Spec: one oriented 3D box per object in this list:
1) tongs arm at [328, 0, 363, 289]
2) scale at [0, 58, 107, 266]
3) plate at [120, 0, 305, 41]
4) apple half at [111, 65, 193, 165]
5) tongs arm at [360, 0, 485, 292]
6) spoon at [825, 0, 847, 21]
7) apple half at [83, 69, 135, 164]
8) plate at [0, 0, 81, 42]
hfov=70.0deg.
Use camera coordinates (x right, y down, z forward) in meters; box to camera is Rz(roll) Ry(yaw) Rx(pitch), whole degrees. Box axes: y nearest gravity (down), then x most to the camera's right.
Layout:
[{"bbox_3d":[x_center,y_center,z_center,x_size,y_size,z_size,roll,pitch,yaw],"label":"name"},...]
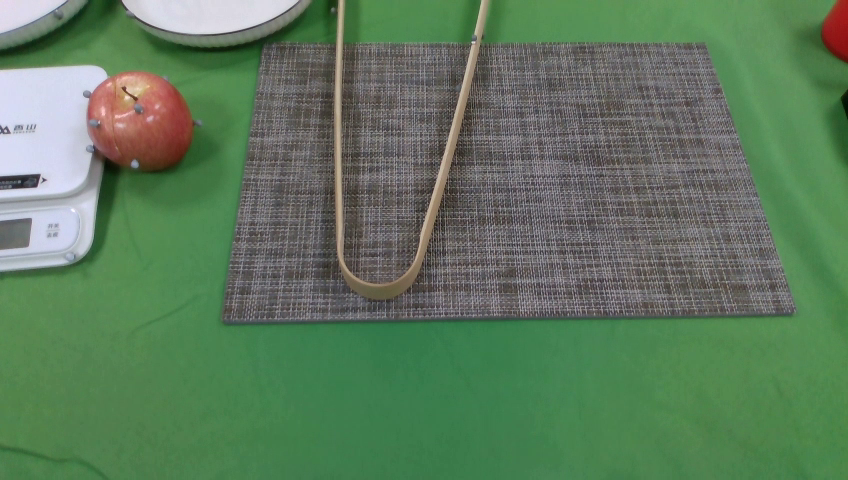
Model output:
[{"bbox_3d":[-0.073,-0.134,0.555,0.028,0.028,0.384,-1,61,-6],"label":"tongs arm"},{"bbox_3d":[-0.350,-0.071,0.515,0.149,0.032,0.199,-5,62,-4],"label":"scale"},{"bbox_3d":[-0.210,-0.278,0.629,0.209,0.038,0.207,1,61,-1],"label":"plate"},{"bbox_3d":[-0.226,-0.105,0.514,0.053,0.075,0.080,-8,58,-9],"label":"apple half"},{"bbox_3d":[0.011,-0.127,0.552,0.051,0.027,0.382,10,62,3],"label":"tongs arm"},{"bbox_3d":[0.488,-0.241,0.565,0.022,0.192,0.041,51,57,-26],"label":"spoon"},{"bbox_3d":[-0.264,-0.099,0.508,0.033,0.082,0.080,-8,61,-9],"label":"apple half"},{"bbox_3d":[-0.436,-0.271,0.620,0.208,0.039,0.206,1,61,-1],"label":"plate"}]
